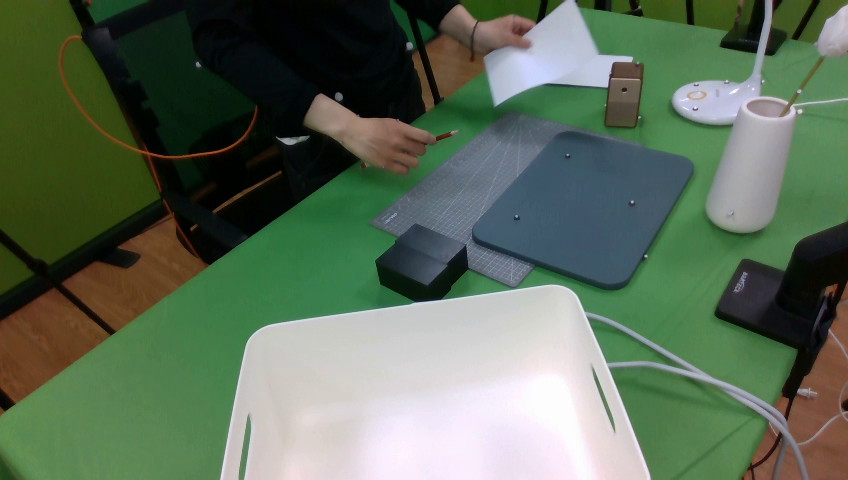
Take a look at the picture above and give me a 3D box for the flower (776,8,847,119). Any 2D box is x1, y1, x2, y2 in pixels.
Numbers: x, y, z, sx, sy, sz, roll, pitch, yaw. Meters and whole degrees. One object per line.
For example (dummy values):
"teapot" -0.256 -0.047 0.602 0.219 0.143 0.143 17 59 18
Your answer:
"flower" 0.476 -0.156 0.822 0.038 0.362 0.044 7 58 2

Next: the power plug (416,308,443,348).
"power plug" 0.005 0.121 0.787 0.035 0.053 0.072 2 46 8

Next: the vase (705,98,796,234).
"vase" 0.480 -0.104 0.889 0.098 0.201 0.097 -4 42 4

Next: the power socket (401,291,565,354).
"power socket" 0.079 0.111 0.823 0.227 0.033 0.072 -5 41 1

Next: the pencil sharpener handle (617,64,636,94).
"pencil sharpener handle" 0.401 -0.327 1.211 0.036 0.068 0.030 16 44 8

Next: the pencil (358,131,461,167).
"pencil" -0.027 -0.160 1.054 0.193 0.012 0.012 -16 38 16

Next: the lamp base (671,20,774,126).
"lamp base" 0.581 -0.332 1.154 0.179 0.181 0.160 2 41 7

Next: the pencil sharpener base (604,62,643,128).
"pencil sharpener base" 0.390 -0.284 1.182 0.061 0.107 0.076 7 42 17

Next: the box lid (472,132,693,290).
"box lid" 0.273 -0.068 1.020 0.261 0.015 0.372 20 47 28

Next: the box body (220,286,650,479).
"box body" 0.006 0.210 0.618 0.364 0.161 0.252 -8 40 -1
